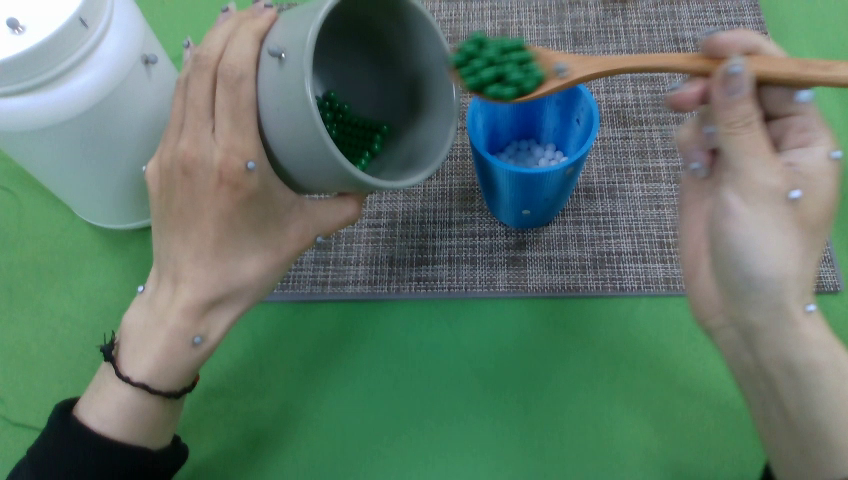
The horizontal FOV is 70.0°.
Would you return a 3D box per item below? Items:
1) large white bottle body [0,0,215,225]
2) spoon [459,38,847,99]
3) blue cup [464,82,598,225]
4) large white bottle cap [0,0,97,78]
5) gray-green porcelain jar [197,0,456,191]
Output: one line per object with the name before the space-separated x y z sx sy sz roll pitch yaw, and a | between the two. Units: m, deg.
large white bottle body | -0.245 -0.106 0.433 0.130 0.186 0.129 -2 64 3
spoon | 0.111 -0.083 0.289 0.193 0.022 0.041 5 58 21
blue cup | 0.072 -0.059 0.431 0.092 0.101 0.092 -2 63 5
large white bottle cap | -0.251 -0.143 0.356 0.115 0.018 0.114 -1 65 3
gray-green porcelain jar | -0.062 -0.082 0.354 0.125 0.107 0.105 2 59 44
